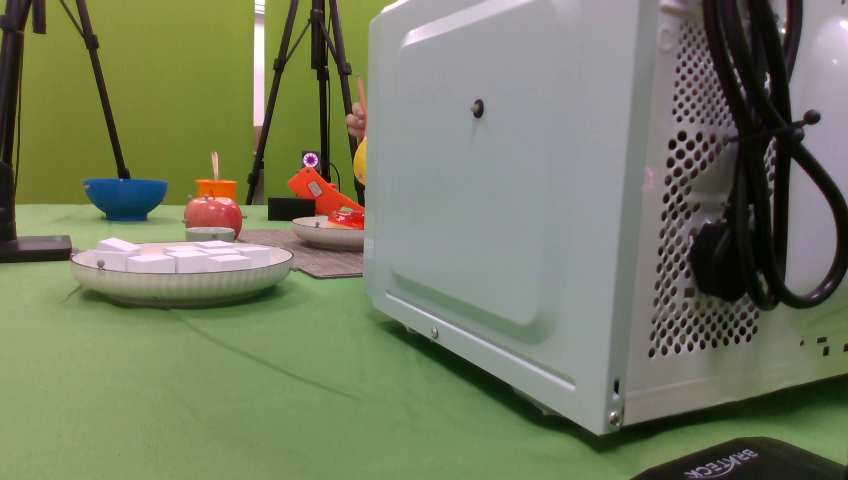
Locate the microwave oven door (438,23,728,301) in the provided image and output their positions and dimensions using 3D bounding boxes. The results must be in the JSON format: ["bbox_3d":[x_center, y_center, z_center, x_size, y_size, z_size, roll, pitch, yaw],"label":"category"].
[{"bbox_3d":[0.181,-0.072,0.621,0.358,0.243,0.039,-2,8,-29],"label":"microwave oven door"}]

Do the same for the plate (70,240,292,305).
[{"bbox_3d":[-0.242,0.031,0.618,0.208,0.039,0.207,2,8,0],"label":"plate"}]

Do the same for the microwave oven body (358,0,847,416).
[{"bbox_3d":[0.211,-0.047,0.474,0.444,0.260,0.324,-1,7,-28],"label":"microwave oven body"}]

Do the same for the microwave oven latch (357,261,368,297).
[{"bbox_3d":[-0.019,0.033,0.530,0.079,0.029,0.030,-1,7,-27],"label":"microwave oven latch"}]

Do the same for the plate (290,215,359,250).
[{"bbox_3d":[-0.110,-0.014,0.973,0.209,0.038,0.209,3,8,0],"label":"plate"}]

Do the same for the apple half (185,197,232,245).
[{"bbox_3d":[-0.337,-0.031,0.928,0.032,0.081,0.082,13,12,37],"label":"apple half"}]

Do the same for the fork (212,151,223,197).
[{"bbox_3d":[-0.494,-0.143,1.442,0.028,0.018,0.206,-2,52,-20],"label":"fork"}]

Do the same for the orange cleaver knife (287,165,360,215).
[{"bbox_3d":[-0.211,-0.093,1.382,0.212,0.077,0.012,33,1,-15],"label":"orange cleaver knife"}]

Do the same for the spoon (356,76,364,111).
[{"bbox_3d":[-0.093,-0.181,0.954,0.021,0.193,0.042,-12,-24,17],"label":"spoon"}]

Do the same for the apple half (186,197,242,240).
[{"bbox_3d":[-0.306,-0.026,0.904,0.053,0.074,0.081,14,9,37],"label":"apple half"}]

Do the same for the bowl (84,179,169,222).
[{"bbox_3d":[-0.584,-0.078,1.194,0.151,0.077,0.151,3,8,0],"label":"bowl"}]

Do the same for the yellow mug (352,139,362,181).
[{"bbox_3d":[-0.045,-0.125,0.890,0.100,0.131,0.063,-14,41,-36],"label":"yellow mug"}]

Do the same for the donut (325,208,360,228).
[{"bbox_3d":[-0.110,-0.025,0.974,0.099,0.048,0.099,5,8,0],"label":"donut"}]

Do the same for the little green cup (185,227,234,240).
[{"bbox_3d":[-0.285,0.005,0.805,0.061,0.038,0.061,2,8,0],"label":"little green cup"}]
